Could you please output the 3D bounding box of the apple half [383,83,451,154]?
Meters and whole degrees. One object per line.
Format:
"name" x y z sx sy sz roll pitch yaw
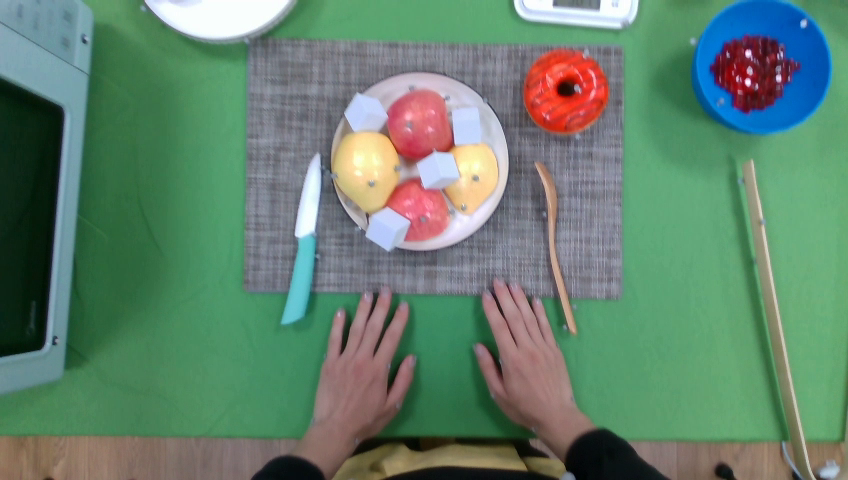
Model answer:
"apple half" -0.009 -0.140 0.692 0.074 0.053 0.081 -11 91 2

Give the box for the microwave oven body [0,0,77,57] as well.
"microwave oven body" -0.565 -0.083 0.593 0.326 0.260 0.441 4 88 -1

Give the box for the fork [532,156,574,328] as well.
"fork" 0.154 0.002 0.714 0.018 0.028 0.207 -8 91 28

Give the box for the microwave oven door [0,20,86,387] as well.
"microwave oven door" -0.423 -0.031 0.587 0.039 0.244 0.355 3 88 0

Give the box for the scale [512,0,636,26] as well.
"scale" 0.187 -0.364 0.725 0.149 0.031 0.200 6 88 0

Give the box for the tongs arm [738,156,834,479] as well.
"tongs arm" 0.423 0.089 0.709 0.051 0.026 0.384 -8 89 -4

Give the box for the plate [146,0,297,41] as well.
"plate" -0.236 -0.335 0.719 0.208 0.039 0.207 0 88 0

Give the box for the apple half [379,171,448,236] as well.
"apple half" -0.012 -0.043 0.697 0.081 0.033 0.081 1 82 -3

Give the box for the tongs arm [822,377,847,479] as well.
"tongs arm" 0.506 0.085 0.711 0.028 0.027 0.387 7 89 -6

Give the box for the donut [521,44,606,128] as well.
"donut" 0.161 -0.180 0.709 0.099 0.048 0.099 0 88 3

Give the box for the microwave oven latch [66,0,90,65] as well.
"microwave oven latch" -0.405 -0.244 0.696 0.030 0.029 0.079 5 88 0

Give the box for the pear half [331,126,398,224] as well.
"pear half" -0.065 -0.073 0.685 0.076 0.056 0.110 -6 92 -8

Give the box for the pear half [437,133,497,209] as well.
"pear half" 0.047 -0.082 0.701 0.070 0.031 0.088 3 86 14

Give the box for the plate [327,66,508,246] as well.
"plate" -0.007 -0.095 0.708 0.209 0.038 0.209 0 88 -1

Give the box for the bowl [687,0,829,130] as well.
"bowl" 0.367 -0.194 0.698 0.151 0.077 0.151 0 89 0

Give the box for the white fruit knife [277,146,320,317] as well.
"white fruit knife" -0.143 -0.010 0.714 0.027 0.016 0.207 9 87 -12
